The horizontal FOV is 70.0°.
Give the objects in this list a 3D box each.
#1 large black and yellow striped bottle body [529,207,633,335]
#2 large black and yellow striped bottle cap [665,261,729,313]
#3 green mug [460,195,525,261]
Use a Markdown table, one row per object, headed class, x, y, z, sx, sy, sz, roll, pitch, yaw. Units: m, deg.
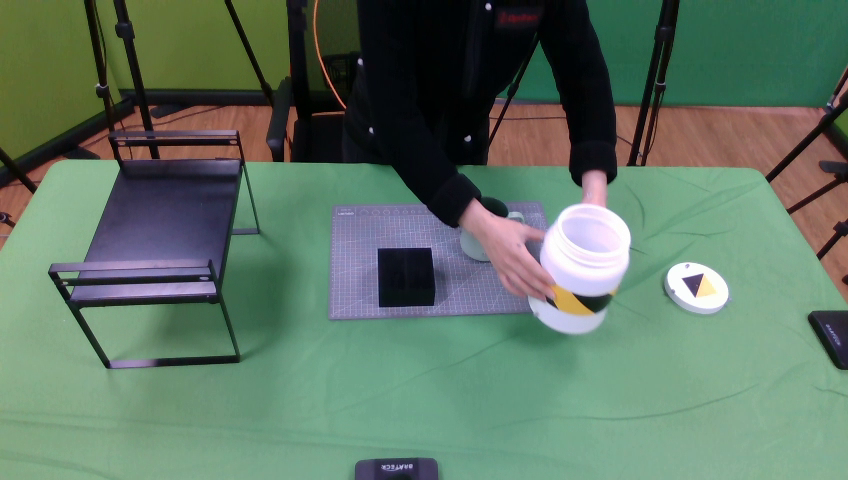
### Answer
| class | x | y | z | sx | sy | sz | roll | pitch | yaw |
| --- | --- | --- | --- | --- | --- | --- | --- | --- | --- |
| large black and yellow striped bottle body | 0.249 | 0.049 | 0.964 | 0.131 | 0.185 | 0.130 | 3 | 46 | -3 |
| large black and yellow striped bottle cap | 0.519 | 0.087 | 1.152 | 0.115 | 0.019 | 0.114 | 2 | 47 | -2 |
| green mug | 0.134 | -0.024 | 1.168 | 0.125 | 0.105 | 0.092 | -8 | 47 | -12 |
